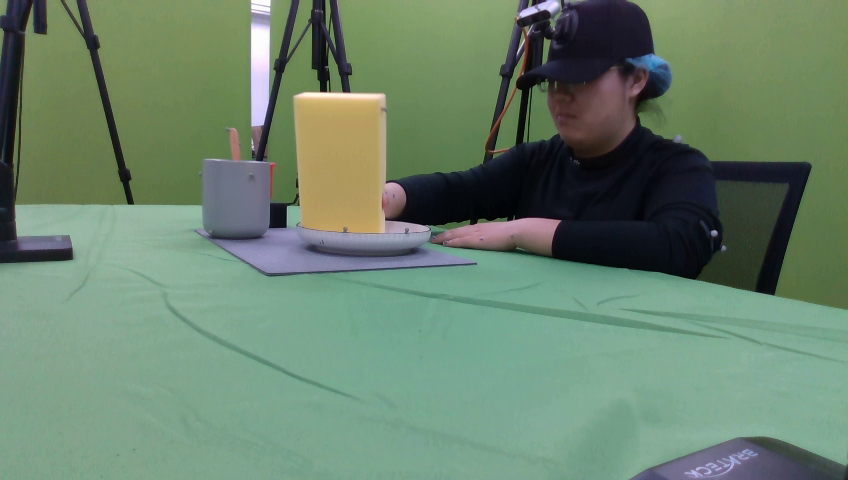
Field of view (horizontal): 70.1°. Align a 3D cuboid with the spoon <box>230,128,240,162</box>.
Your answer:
[{"bbox_3d":[-0.314,-0.109,1.025,0.042,0.193,0.021,-5,-19,-16],"label":"spoon"}]

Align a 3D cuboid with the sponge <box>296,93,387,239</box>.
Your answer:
[{"bbox_3d":[-0.117,-0.103,0.870,0.118,0.207,0.061,4,20,3],"label":"sponge"}]

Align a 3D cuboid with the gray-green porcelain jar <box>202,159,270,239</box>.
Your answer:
[{"bbox_3d":[-0.310,-0.068,0.999,0.106,0.126,0.106,3,8,0],"label":"gray-green porcelain jar"}]

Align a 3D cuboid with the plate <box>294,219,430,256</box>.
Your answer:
[{"bbox_3d":[-0.096,-0.005,0.936,0.208,0.039,0.207,3,7,0],"label":"plate"}]
